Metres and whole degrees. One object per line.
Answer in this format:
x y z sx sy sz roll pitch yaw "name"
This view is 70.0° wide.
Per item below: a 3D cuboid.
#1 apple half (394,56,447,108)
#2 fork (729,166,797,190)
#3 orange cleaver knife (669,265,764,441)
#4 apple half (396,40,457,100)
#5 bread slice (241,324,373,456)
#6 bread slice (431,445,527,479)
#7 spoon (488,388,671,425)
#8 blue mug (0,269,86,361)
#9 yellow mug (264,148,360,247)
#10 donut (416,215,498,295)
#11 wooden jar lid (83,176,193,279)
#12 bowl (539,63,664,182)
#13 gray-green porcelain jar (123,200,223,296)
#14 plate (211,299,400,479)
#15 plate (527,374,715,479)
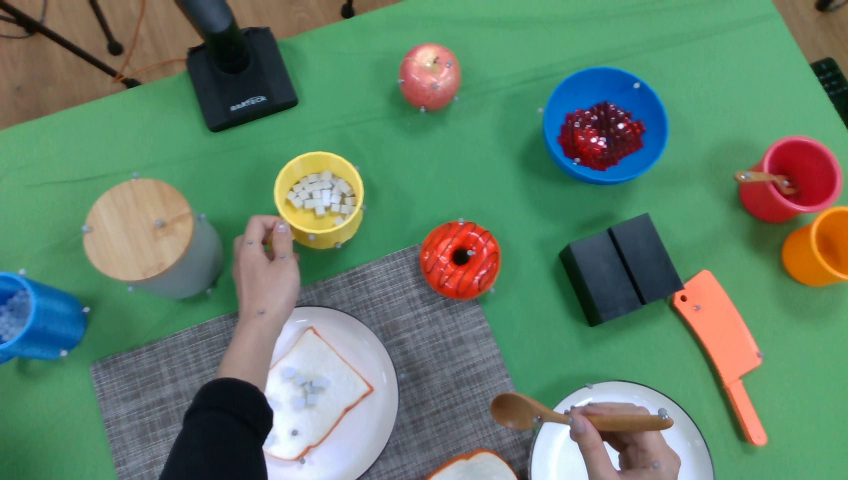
-0.011 -0.190 0.765 0.081 0.081 0.032 34 72 7 "apple half"
0.404 -0.076 0.718 0.208 0.018 0.028 -1 71 -46 "fork"
0.366 0.132 0.730 0.077 0.012 0.210 -18 76 -13 "orange cleaver knife"
0.010 -0.220 0.775 0.080 0.075 0.053 34 71 10 "apple half"
-0.138 0.177 0.684 0.104 0.019 0.131 42 78 8 "bread slice"
0.054 0.284 0.641 0.134 0.018 0.106 -24 74 -29 "bread slice"
0.124 0.149 0.521 0.021 0.193 0.042 -31 99 -33 "spoon"
-0.448 0.094 0.659 0.082 0.106 0.116 42 78 9 "blue mug"
-0.136 -0.039 0.708 0.100 0.064 0.130 43 74 5 "yellow mug"
0.040 0.018 0.727 0.099 0.048 0.098 1 76 -2 "donut"
-0.289 -0.012 0.618 0.108 0.021 0.108 0 74 -1 "wooden jar lid"
0.212 -0.135 0.759 0.151 0.077 0.150 1 76 -2 "bowl"
-0.291 0.005 0.678 0.106 0.127 0.105 1 75 -2 "gray-green porcelain jar"
-0.130 0.172 0.685 0.208 0.039 0.206 1 76 -2 "plate"
0.217 0.258 0.682 0.209 0.038 0.208 1 76 -2 "plate"
